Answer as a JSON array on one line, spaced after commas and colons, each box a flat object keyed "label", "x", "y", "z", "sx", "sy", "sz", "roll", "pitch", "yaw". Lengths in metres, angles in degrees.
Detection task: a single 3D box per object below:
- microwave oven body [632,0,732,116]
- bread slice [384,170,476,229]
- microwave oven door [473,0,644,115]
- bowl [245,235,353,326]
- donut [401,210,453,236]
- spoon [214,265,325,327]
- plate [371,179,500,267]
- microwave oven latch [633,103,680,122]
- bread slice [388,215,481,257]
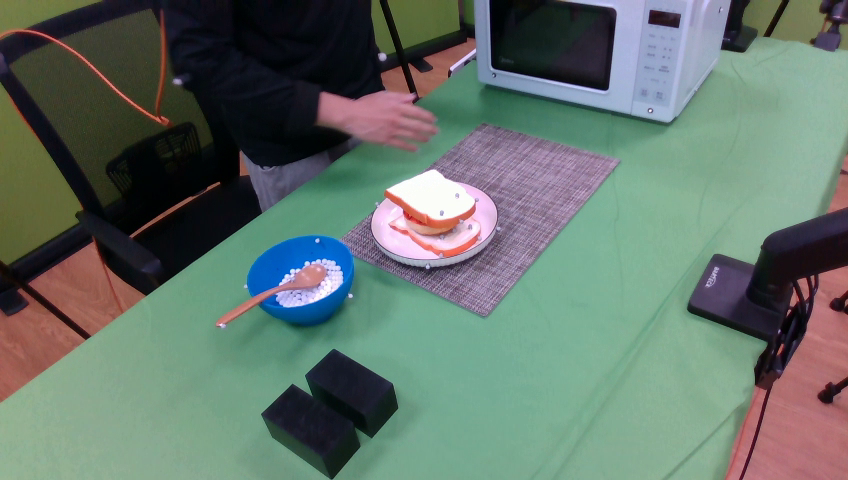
[{"label": "microwave oven body", "x": 0.377, "y": -0.462, "z": 1.267, "sx": 0.438, "sy": 0.261, "sz": 0.327, "roll": 21, "pitch": 48, "yaw": 30}, {"label": "bread slice", "x": 0.017, "y": -0.064, "z": 0.935, "sx": 0.105, "sy": 0.019, "sz": 0.130, "roll": -27, "pitch": 46, "yaw": -30}, {"label": "microwave oven door", "x": 0.257, "y": -0.396, "z": 1.199, "sx": 0.353, "sy": 0.245, "sz": 0.039, "roll": 21, "pitch": 48, "yaw": 29}, {"label": "bowl", "x": -0.171, "y": 0.070, "z": 0.868, "sx": 0.151, "sy": 0.077, "sz": 0.150, "roll": -4, "pitch": 41, "yaw": 4}, {"label": "donut", "x": 0.013, "y": -0.047, "z": 0.956, "sx": 0.099, "sy": 0.048, "sz": 0.098, "roll": -8, "pitch": 41, "yaw": 8}, {"label": "spoon", "x": -0.206, "y": 0.073, "z": 0.821, "sx": 0.041, "sy": 0.021, "sz": 0.195, "roll": 22, "pitch": 27, "yaw": 26}, {"label": "plate", "x": 0.020, "y": -0.025, "z": 0.977, "sx": 0.207, "sy": 0.039, "sz": 0.206, "roll": -4, "pitch": 40, "yaw": 4}, {"label": "microwave oven latch", "x": 0.444, "y": -0.249, "z": 1.157, "sx": 0.078, "sy": 0.029, "sz": 0.030, "roll": 20, "pitch": 48, "yaw": 30}, {"label": "bread slice", "x": 0.026, "y": -0.023, "z": 0.973, "sx": 0.107, "sy": 0.018, "sz": 0.133, "roll": -36, "pitch": 48, "yaw": -28}]
